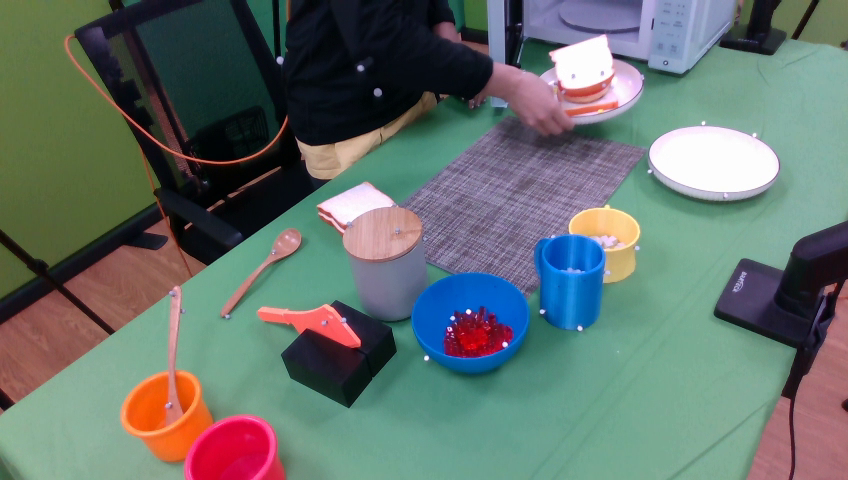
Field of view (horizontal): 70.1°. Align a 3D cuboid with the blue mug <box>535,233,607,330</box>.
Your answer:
[{"bbox_3d":[0.191,0.048,0.824,0.082,0.106,0.115,-26,44,-20],"label":"blue mug"}]

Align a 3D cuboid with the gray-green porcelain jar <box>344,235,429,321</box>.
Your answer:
[{"bbox_3d":[-0.049,0.042,0.849,0.106,0.127,0.105,-4,41,4],"label":"gray-green porcelain jar"}]

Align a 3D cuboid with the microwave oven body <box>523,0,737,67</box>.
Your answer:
[{"bbox_3d":[0.475,-0.602,1.411,0.438,0.261,0.327,23,50,32],"label":"microwave oven body"}]

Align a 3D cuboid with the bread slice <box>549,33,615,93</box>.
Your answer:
[{"bbox_3d":[0.295,-0.322,1.108,0.107,0.018,0.133,-17,49,13],"label":"bread slice"}]

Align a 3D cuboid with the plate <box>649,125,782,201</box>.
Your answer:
[{"bbox_3d":[0.493,-0.128,1.036,0.207,0.039,0.206,-4,41,4],"label":"plate"}]

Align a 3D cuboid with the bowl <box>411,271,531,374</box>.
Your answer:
[{"bbox_3d":[0.062,0.119,0.780,0.151,0.077,0.150,-4,40,4],"label":"bowl"}]

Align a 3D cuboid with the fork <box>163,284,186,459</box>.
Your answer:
[{"bbox_3d":[-0.303,0.157,0.733,0.028,0.019,0.207,-3,84,12],"label":"fork"}]

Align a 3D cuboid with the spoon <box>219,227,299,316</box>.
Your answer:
[{"bbox_3d":[-0.261,0.046,0.954,0.041,0.021,0.194,27,48,11],"label":"spoon"}]

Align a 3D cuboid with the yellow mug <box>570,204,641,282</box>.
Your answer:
[{"bbox_3d":[0.268,-0.005,0.904,0.099,0.064,0.130,7,42,15],"label":"yellow mug"}]

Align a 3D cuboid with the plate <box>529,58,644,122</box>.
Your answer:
[{"bbox_3d":[0.307,-0.281,1.148,0.209,0.038,0.208,-8,42,8],"label":"plate"}]

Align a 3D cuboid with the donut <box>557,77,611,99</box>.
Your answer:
[{"bbox_3d":[0.299,-0.300,1.129,0.099,0.048,0.098,-8,43,8],"label":"donut"}]

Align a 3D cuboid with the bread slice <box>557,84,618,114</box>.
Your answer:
[{"bbox_3d":[0.306,-0.287,1.160,0.105,0.019,0.131,-8,45,8],"label":"bread slice"}]

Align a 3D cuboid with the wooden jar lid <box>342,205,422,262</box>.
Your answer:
[{"bbox_3d":[-0.055,-0.006,0.808,0.108,0.021,0.108,-6,41,6],"label":"wooden jar lid"}]

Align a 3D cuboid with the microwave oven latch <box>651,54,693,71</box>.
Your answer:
[{"bbox_3d":[0.532,-0.386,1.301,0.078,0.029,0.030,26,51,33],"label":"microwave oven latch"}]

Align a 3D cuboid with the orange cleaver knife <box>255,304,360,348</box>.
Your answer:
[{"bbox_3d":[-0.161,0.115,0.813,0.210,0.077,0.012,-5,32,46],"label":"orange cleaver knife"}]

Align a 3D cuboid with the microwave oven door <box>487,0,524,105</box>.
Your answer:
[{"bbox_3d":[0.181,-0.488,1.314,0.039,0.245,0.355,4,42,13],"label":"microwave oven door"}]
